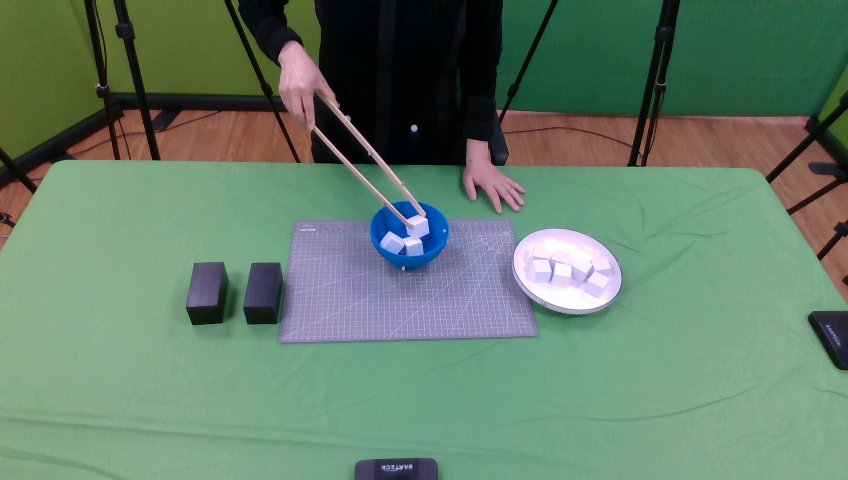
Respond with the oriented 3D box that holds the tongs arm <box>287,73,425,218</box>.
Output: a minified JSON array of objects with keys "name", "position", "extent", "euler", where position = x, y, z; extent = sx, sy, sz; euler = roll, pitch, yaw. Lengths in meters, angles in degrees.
[{"name":"tongs arm","position":[-0.135,-0.181,1.169],"extent":[0.051,0.026,0.384],"euler":[-36,80,-13]}]

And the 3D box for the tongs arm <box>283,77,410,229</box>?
[{"name":"tongs arm","position":[-0.153,-0.166,1.163],"extent":[0.028,0.028,0.386],"euler":[-40,81,-10]}]

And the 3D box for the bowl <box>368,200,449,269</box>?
[{"name":"bowl","position":[-0.031,0.002,1.151],"extent":[0.151,0.077,0.150],"euler":[2,46,-2]}]

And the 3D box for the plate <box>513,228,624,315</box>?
[{"name":"plate","position":[0.268,0.063,1.146],"extent":[0.208,0.039,0.206],"euler":[3,46,-3]}]
